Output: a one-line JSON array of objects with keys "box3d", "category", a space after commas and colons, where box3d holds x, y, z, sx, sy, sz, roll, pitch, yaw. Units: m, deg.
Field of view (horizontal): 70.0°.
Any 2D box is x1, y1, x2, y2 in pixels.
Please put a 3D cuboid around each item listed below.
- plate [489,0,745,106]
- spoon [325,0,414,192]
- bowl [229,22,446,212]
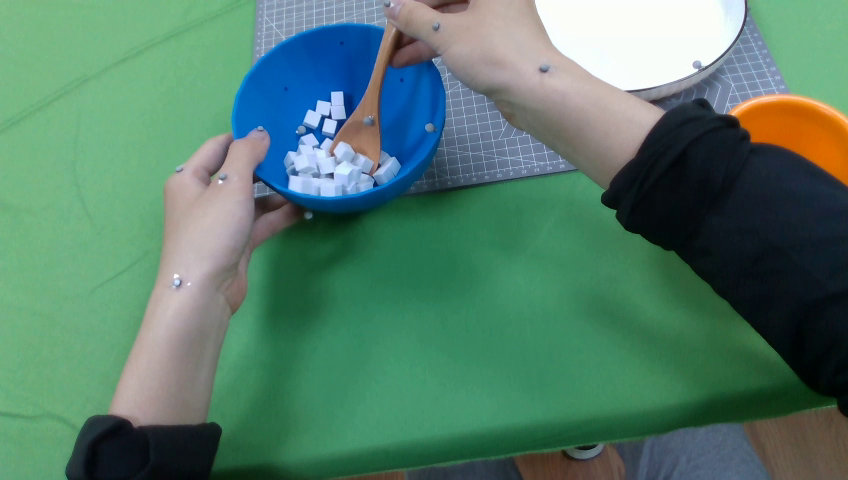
[{"box3d": [0.160, -0.194, 0.523, 0.209, 0.038, 0.207, -3, 62, 6], "category": "plate"}, {"box3d": [-0.027, -0.122, 0.416, 0.041, 0.021, 0.194, 30, 114, 17], "category": "spoon"}, {"box3d": [-0.058, -0.078, 0.454, 0.151, 0.077, 0.150, -1, 66, 2], "category": "bowl"}]
